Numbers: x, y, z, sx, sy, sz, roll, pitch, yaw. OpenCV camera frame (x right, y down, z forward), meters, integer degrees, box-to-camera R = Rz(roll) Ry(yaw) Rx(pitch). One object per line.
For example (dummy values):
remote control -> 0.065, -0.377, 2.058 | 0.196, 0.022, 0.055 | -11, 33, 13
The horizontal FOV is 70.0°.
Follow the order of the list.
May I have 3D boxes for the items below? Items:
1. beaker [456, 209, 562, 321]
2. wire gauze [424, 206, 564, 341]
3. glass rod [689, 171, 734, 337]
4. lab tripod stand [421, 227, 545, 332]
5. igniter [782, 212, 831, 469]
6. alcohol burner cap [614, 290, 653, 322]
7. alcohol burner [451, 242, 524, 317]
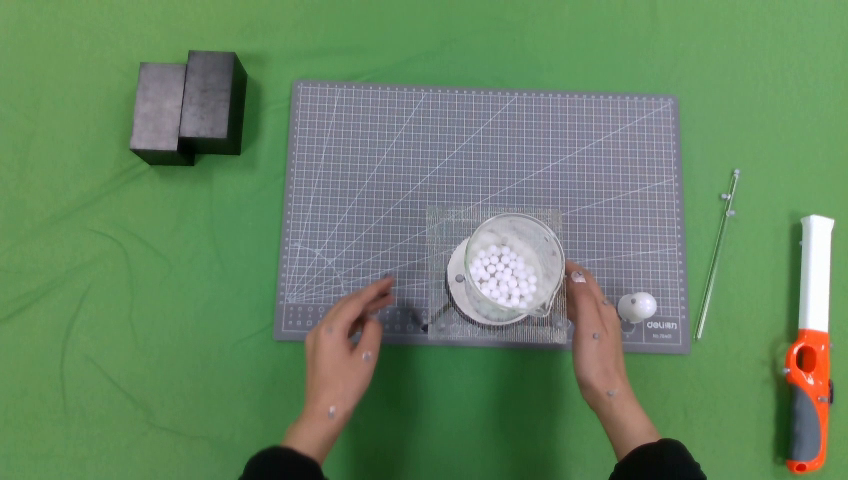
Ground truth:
beaker -> 0.064, 0.028, 0.486 | 0.074, 0.100, 0.083 | -30, 79, -7
wire gauze -> 0.061, 0.028, 0.535 | 0.125, 0.011, 0.121 | 1, 77, 1
glass rod -> 0.323, 0.013, 0.680 | 0.008, 0.008, 0.199 | 19, 79, 2
lab tripod stand -> 0.060, 0.044, 0.599 | 0.148, 0.132, 0.147 | 0, 77, 0
igniter -> 0.414, 0.105, 0.654 | 0.057, 0.025, 0.275 | 12, 79, -10
alcohol burner cap -> 0.226, 0.069, 0.646 | 0.034, 0.048, 0.033 | 0, 76, -1
alcohol burner -> 0.065, 0.037, 0.611 | 0.078, 0.119, 0.077 | 0, 77, -2
